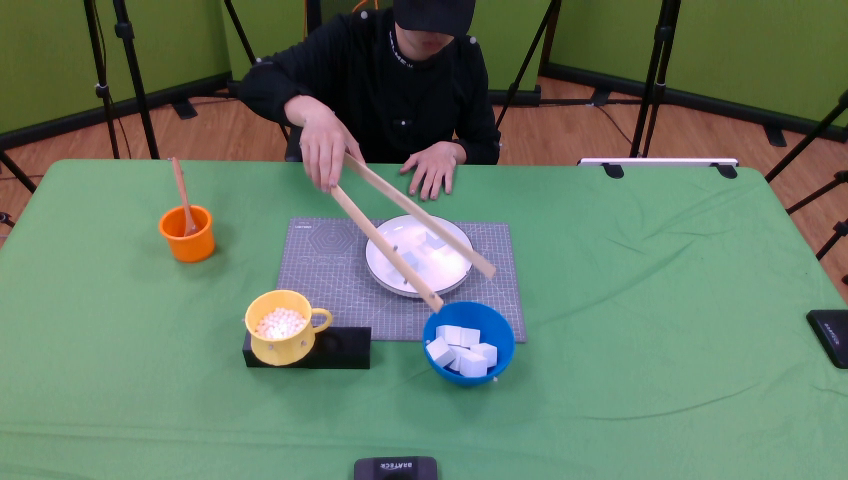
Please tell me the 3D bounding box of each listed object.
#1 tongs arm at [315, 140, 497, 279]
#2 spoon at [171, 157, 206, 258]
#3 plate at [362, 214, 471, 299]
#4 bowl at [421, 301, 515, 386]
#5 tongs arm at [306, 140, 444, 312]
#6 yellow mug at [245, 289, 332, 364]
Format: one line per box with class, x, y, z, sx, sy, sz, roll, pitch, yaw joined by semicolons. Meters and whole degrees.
tongs arm;-0.035;-0.057;1.018;0.386;0.028;0.028;38;48;15
spoon;-0.444;-0.061;1.133;0.042;0.194;0.021;-12;4;-19
plate;-0.014;0.034;1.149;0.208;0.039;0.206;3;46;-2
bowl;0.068;0.182;0.990;0.151;0.077;0.150;3;46;-3
tongs arm;-0.084;-0.033;0.970;0.051;0.026;0.383;-25;60;-38
yellow mug;-0.210;0.133;0.954;0.131;0.064;0.099;-9;48;-14
